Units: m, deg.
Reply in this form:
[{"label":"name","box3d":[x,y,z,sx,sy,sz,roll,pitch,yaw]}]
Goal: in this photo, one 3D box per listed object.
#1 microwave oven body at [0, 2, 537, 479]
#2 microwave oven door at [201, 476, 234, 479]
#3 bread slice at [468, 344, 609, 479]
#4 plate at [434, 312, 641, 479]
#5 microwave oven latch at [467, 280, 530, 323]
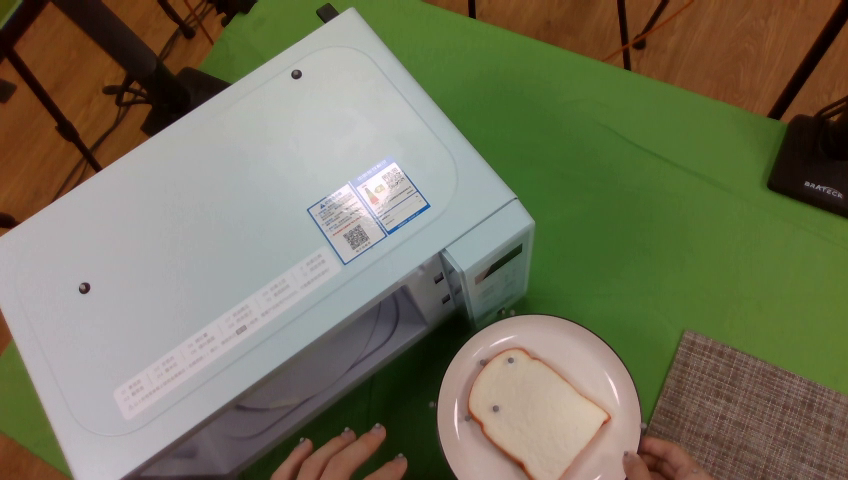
[{"label":"microwave oven body","box3d":[-0.152,0.024,0.663,0.441,0.262,0.323,-36,70,-5]},{"label":"microwave oven door","box3d":[-0.079,0.279,0.558,0.355,0.245,0.039,9,71,10]},{"label":"bread slice","box3d":[0.111,0.175,0.635,0.131,0.019,0.105,39,78,16]},{"label":"plate","box3d":[0.115,0.180,0.631,0.207,0.039,0.206,-2,71,6]},{"label":"microwave oven latch","box3d":[0.089,0.065,0.721,0.079,0.030,0.030,-34,70,-4]}]
